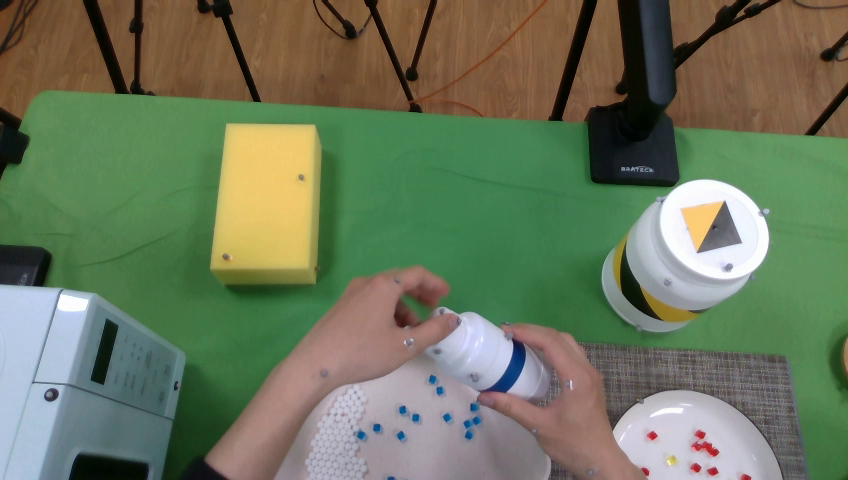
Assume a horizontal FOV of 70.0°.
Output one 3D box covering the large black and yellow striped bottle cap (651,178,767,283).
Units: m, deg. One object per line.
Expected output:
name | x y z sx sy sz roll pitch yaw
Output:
large black and yellow striped bottle cap | 0.298 -0.012 0.633 0.115 0.019 0.114 1 67 -1

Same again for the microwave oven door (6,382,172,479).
microwave oven door | -0.311 0.317 0.521 0.039 0.245 0.353 4 68 0

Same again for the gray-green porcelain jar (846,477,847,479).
gray-green porcelain jar | 0.527 0.288 0.645 0.106 0.127 0.105 1 68 -1

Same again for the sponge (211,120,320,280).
sponge | -0.201 -0.053 0.790 0.118 0.061 0.205 -1 69 -3

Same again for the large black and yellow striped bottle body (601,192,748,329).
large black and yellow striped bottle body | 0.296 0.021 0.713 0.131 0.185 0.130 1 67 -1

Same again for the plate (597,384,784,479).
plate | 0.297 0.271 0.688 0.209 0.038 0.207 1 68 -1

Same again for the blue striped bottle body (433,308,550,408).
blue striped bottle body | 0.056 0.106 0.560 0.122 0.063 0.063 33 65 -29

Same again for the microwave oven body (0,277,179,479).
microwave oven body | -0.453 0.270 0.541 0.326 0.262 0.438 4 69 -1

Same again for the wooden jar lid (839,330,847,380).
wooden jar lid | 0.572 0.154 0.758 0.108 0.021 0.107 1 70 -1

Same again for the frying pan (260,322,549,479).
frying pan | -0.025 0.328 0.619 0.307 0.103 0.483 2 60 1

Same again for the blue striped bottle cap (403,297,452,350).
blue striped bottle cap | 0.003 0.072 0.517 0.020 0.045 0.044 -39 71 16

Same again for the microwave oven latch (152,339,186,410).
microwave oven latch | -0.297 0.154 0.697 0.030 0.030 0.078 7 69 0
